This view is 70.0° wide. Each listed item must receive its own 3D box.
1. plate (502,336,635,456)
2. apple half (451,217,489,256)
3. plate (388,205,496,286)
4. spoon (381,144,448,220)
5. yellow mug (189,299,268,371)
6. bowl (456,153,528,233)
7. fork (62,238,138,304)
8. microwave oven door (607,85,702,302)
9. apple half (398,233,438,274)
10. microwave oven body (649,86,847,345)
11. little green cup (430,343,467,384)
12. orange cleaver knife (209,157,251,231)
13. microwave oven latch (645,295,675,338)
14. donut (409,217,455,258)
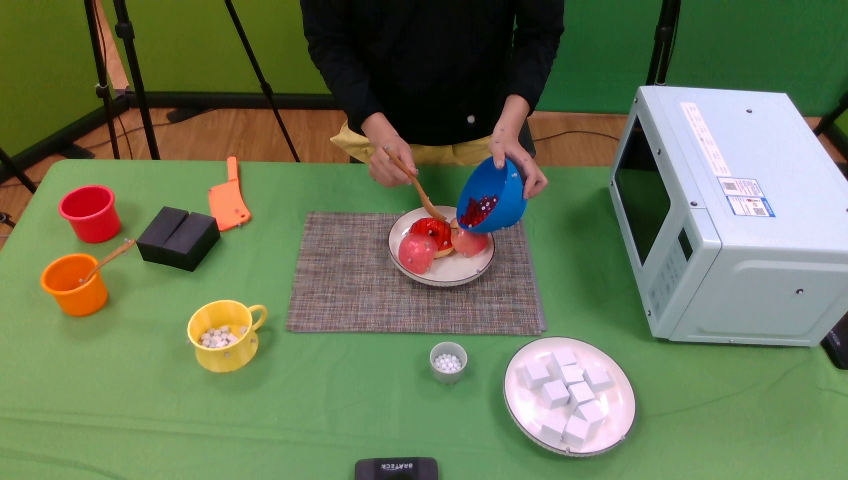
[{"bbox_3d":[0.225,0.248,0.964,0.208,0.039,0.206,2,46,-2],"label":"plate"},{"bbox_3d":[0.093,-0.014,1.158,0.075,0.053,0.080,35,40,-28],"label":"apple half"},{"bbox_3d":[0.033,0.014,1.171,0.209,0.038,0.208,2,46,-2],"label":"plate"},{"bbox_3d":[-0.016,-0.099,1.071,0.021,0.195,0.041,-45,32,-13],"label":"spoon"},{"bbox_3d":[-0.316,0.148,1.002,0.131,0.064,0.099,-33,56,-31],"label":"yellow mug"},{"bbox_3d":[0.133,-0.072,1.088,0.077,0.151,0.150,26,41,-24],"label":"bowl"},{"bbox_3d":[-0.547,0.053,1.018,0.207,0.019,0.028,-36,41,23],"label":"fork"},{"bbox_3d":[0.423,-0.094,1.141,0.039,0.245,0.353,2,46,-1],"label":"microwave oven door"},{"bbox_3d":[-0.016,0.022,1.123,0.081,0.033,0.081,-2,83,14],"label":"apple half"},{"bbox_3d":[0.568,-0.053,1.118,0.326,0.261,0.439,2,45,-1],"label":"microwave oven body"},{"bbox_3d":[0.039,0.203,0.993,0.061,0.039,0.061,2,46,-2],"label":"little green cup"},{"bbox_3d":[-0.409,-0.099,1.266,0.077,0.012,0.210,-14,50,-10],"label":"orange cleaver knife"},{"bbox_3d":[0.412,0.134,1.061,0.030,0.029,0.078,3,45,0],"label":"microwave oven latch"},{"bbox_3d":[0.019,-0.005,1.174,0.099,0.048,0.098,2,42,-2],"label":"donut"}]
